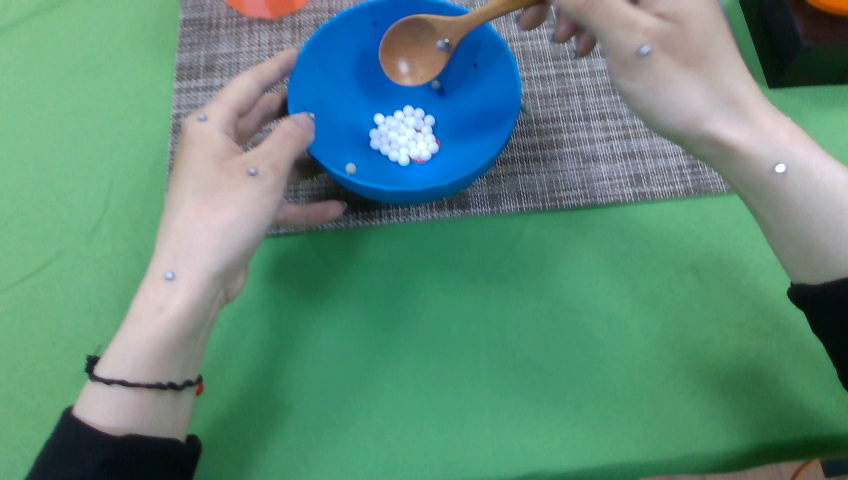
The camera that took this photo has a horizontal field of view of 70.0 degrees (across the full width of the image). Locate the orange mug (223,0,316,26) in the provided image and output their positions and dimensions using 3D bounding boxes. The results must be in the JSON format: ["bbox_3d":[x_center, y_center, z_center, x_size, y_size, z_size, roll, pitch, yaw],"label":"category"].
[{"bbox_3d":[-0.132,-0.255,0.488,0.083,0.101,0.125,6,71,4],"label":"orange mug"}]

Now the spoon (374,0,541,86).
[{"bbox_3d":[0.037,-0.124,0.328,0.021,0.192,0.042,-42,112,-33],"label":"spoon"}]

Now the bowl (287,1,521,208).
[{"bbox_3d":[-0.012,-0.080,0.421,0.151,0.077,0.150,0,67,1],"label":"bowl"}]
